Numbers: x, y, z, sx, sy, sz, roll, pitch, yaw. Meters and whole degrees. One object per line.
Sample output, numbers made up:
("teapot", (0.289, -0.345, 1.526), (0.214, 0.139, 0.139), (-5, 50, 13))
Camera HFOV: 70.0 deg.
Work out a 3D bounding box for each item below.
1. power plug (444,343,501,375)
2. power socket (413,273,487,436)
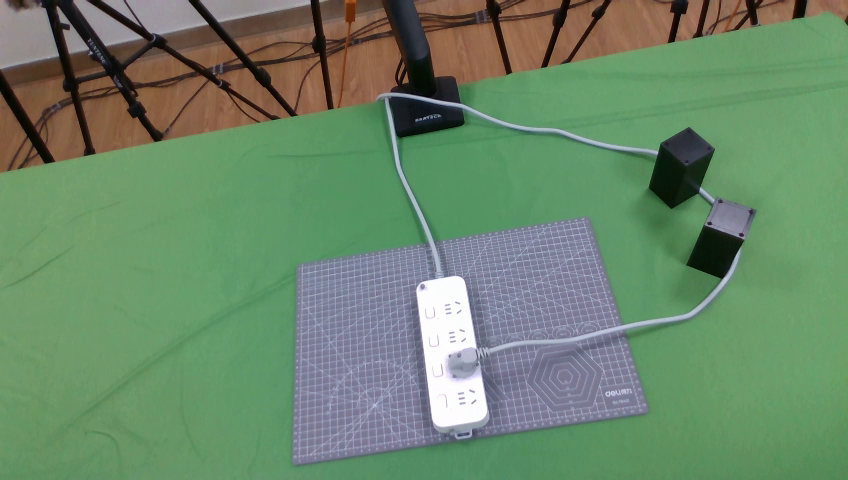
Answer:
("power plug", (0.062, 0.155, 0.769), (0.072, 0.053, 0.035), (0, 59, 7))
("power socket", (0.031, 0.143, 0.804), (0.072, 0.033, 0.224), (-10, 57, 2))
